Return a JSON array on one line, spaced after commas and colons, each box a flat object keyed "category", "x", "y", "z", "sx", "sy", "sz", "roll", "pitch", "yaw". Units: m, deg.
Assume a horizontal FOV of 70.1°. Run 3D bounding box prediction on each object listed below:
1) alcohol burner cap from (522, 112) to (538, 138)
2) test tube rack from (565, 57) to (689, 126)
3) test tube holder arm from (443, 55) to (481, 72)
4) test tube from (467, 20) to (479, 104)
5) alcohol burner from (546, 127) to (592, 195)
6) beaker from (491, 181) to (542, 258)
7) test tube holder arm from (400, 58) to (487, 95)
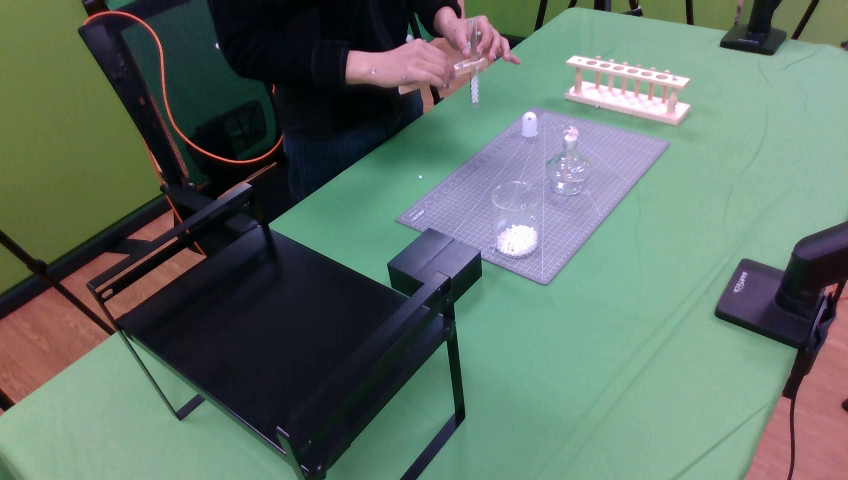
[{"category": "alcohol burner cap", "x": 0.210, "y": -0.230, "z": 1.195, "sx": 0.034, "sy": 0.048, "sz": 0.033, "roll": -5, "pitch": 40, "yaw": 5}, {"category": "test tube rack", "x": 0.412, "y": -0.311, "z": 1.230, "sx": 0.240, "sy": 0.085, "sz": 0.067, "roll": 24, "pitch": 49, "yaw": 32}, {"category": "test tube holder arm", "x": 0.066, "y": -0.299, "z": 1.043, "sx": 0.010, "sy": 0.015, "sz": 0.088, "roll": 28, "pitch": 48, "yaw": 37}, {"category": "test tube", "x": 0.086, "y": -0.305, "z": 1.051, "sx": 0.017, "sy": 0.151, "sz": 0.017, "roll": -3, "pitch": 40, "yaw": 3}, {"category": "alcohol burner", "x": 0.246, "y": -0.137, "z": 1.024, "sx": 0.078, "sy": 0.119, "sz": 0.077, "roll": -4, "pitch": 38, "yaw": 4}, {"category": "beaker", "x": 0.144, "y": -0.030, "z": 0.925, "sx": 0.073, "sy": 0.100, "sz": 0.084, "roll": 23, "pitch": 48, "yaw": 31}, {"category": "test tube holder arm", "x": 0.035, "y": -0.277, "z": 1.018, "sx": 0.179, "sy": 0.015, "sz": 0.013, "roll": -27, "pitch": 41, "yaw": -26}]
